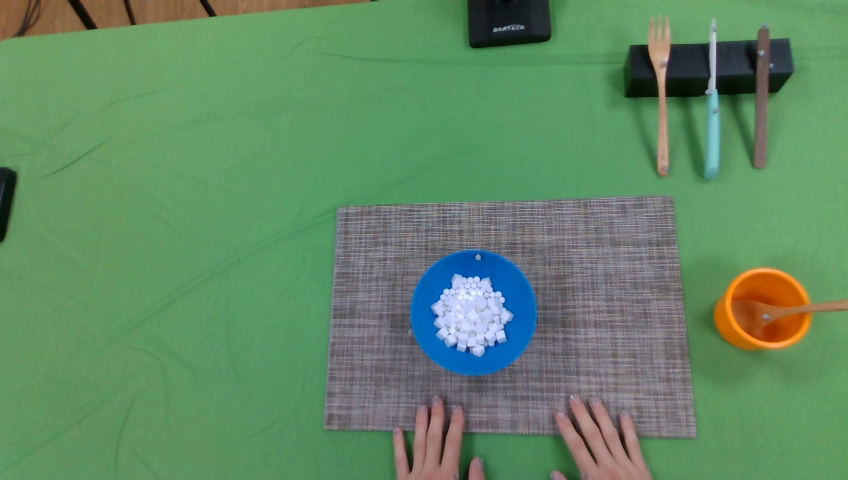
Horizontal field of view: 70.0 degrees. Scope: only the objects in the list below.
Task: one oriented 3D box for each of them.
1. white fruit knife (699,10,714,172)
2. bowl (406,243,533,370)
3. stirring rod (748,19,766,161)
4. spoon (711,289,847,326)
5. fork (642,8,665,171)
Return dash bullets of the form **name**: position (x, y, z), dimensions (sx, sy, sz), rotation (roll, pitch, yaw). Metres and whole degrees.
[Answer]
- **white fruit knife**: position (0.365, -0.192, 0.781), dimensions (0.016, 0.027, 0.207), rotation (0, 90, 5)
- **bowl**: position (0.058, 0.087, 0.744), dimensions (0.151, 0.077, 0.150), rotation (-2, 73, 8)
- **stirring rod**: position (0.427, -0.190, 0.776), dimensions (0.014, 0.006, 0.176), rotation (0, 99, 15)
- **spoon**: position (0.415, 0.068, 0.668), dimensions (0.022, 0.193, 0.041), rotation (14, 71, -34)
- **fork**: position (0.303, -0.195, 0.792), dimensions (0.028, 0.018, 0.207), rotation (-3, 94, 4)
